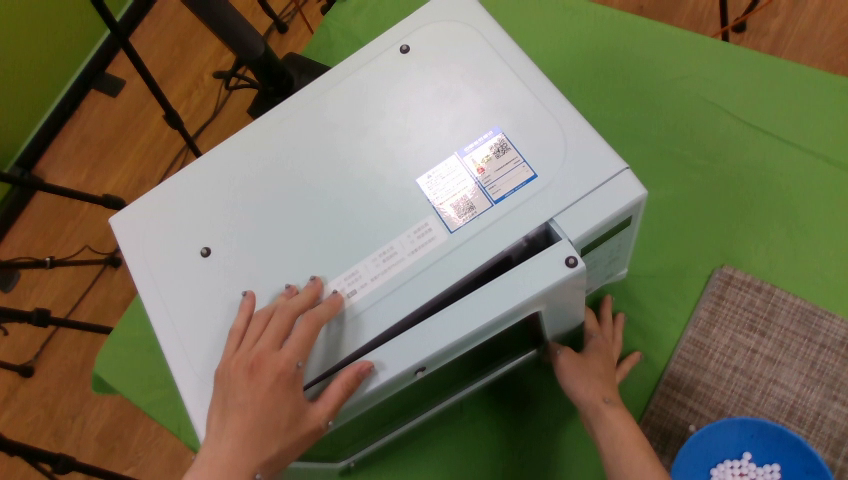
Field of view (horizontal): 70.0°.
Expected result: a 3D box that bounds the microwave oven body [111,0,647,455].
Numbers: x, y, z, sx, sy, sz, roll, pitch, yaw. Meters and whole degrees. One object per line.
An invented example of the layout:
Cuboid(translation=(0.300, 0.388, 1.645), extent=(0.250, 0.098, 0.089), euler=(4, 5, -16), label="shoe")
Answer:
Cuboid(translation=(-0.044, 0.000, 0.678), extent=(0.442, 0.262, 0.323), euler=(-34, 66, 0), label="microwave oven body")

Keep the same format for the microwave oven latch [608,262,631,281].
Cuboid(translation=(0.201, 0.037, 0.710), extent=(0.079, 0.030, 0.030), euler=(-19, 68, 7), label="microwave oven latch")

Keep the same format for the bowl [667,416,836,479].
Cuboid(translation=(0.314, 0.253, 0.596), extent=(0.151, 0.077, 0.150), euler=(-5, 69, 12), label="bowl")

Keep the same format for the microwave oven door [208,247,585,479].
Cuboid(translation=(0.000, 0.141, 0.609), extent=(0.356, 0.246, 0.039), euler=(-31, 65, 1), label="microwave oven door")
